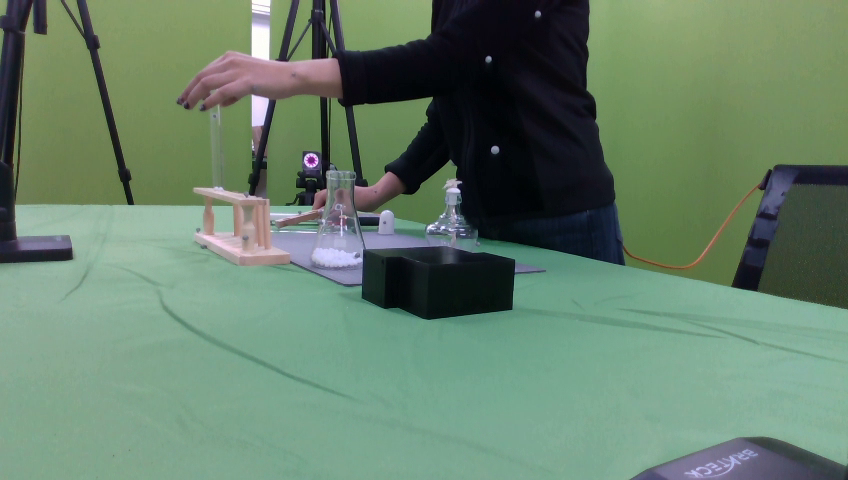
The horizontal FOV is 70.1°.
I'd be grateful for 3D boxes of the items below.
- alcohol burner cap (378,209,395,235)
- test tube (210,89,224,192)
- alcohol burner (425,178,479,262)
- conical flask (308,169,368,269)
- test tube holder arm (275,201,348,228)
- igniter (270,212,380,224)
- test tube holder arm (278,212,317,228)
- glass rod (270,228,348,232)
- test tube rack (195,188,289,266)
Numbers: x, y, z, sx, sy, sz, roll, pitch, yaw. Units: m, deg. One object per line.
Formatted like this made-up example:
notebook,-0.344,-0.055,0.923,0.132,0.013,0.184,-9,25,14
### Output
alcohol burner cap,-0.071,-0.035,1.144,0.034,0.048,0.034,2,8,0
test tube,-0.302,-0.143,0.881,0.017,0.150,0.017,1,8,0
alcohol burner,0.040,-0.028,0.853,0.078,0.119,0.078,2,10,0
conical flask,-0.107,-0.028,0.762,0.075,0.122,0.075,2,7,0
test tube holder arm,-0.217,-0.053,1.191,0.013,0.015,0.179,22,29,33
igniter,-0.212,-0.047,1.276,0.278,0.025,0.057,0,6,-24
test tube holder arm,-0.241,-0.039,1.154,0.010,0.015,0.088,23,29,34
glass rod,-0.235,-0.018,1.105,0.201,0.008,0.008,1,7,-26
test tube rack,-0.266,-0.025,0.864,0.067,0.085,0.241,-2,8,-33
